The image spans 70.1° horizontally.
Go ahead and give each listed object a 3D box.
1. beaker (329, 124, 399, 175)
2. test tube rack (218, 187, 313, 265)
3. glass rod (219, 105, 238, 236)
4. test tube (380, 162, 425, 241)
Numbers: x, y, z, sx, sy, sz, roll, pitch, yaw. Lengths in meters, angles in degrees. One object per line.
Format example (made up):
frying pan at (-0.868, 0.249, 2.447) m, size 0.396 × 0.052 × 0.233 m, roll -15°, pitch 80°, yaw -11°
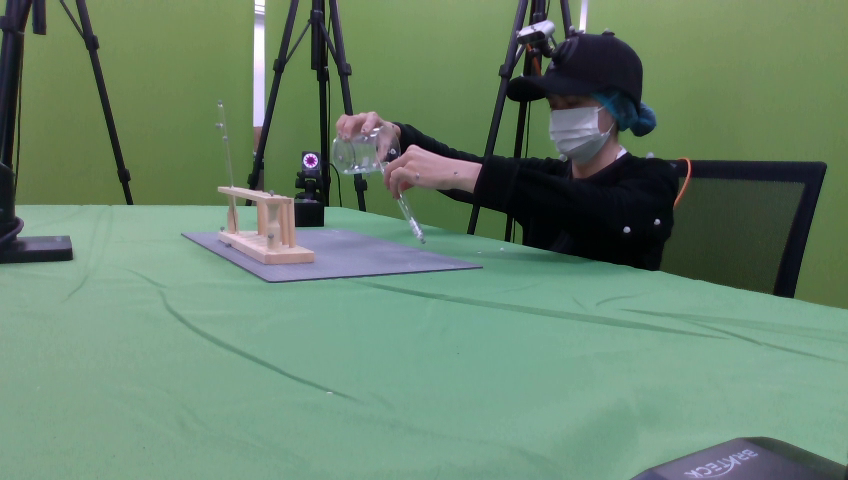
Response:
beaker at (-0.103, -0.147, 1.026) m, size 0.100 × 0.084 × 0.074 m, roll -3°, pitch -8°, yaw 32°
test tube rack at (-0.235, -0.027, 0.872) m, size 0.067 × 0.085 × 0.241 m, roll -1°, pitch 8°, yaw -32°
glass rod at (-0.294, -0.100, 0.908) m, size 0.008 × 0.199 × 0.008 m, roll -3°, pitch 12°, yaw 1°
test tube at (-0.035, -0.063, 0.974) m, size 0.017 × 0.150 × 0.017 m, roll -24°, pitch -19°, yaw -9°
